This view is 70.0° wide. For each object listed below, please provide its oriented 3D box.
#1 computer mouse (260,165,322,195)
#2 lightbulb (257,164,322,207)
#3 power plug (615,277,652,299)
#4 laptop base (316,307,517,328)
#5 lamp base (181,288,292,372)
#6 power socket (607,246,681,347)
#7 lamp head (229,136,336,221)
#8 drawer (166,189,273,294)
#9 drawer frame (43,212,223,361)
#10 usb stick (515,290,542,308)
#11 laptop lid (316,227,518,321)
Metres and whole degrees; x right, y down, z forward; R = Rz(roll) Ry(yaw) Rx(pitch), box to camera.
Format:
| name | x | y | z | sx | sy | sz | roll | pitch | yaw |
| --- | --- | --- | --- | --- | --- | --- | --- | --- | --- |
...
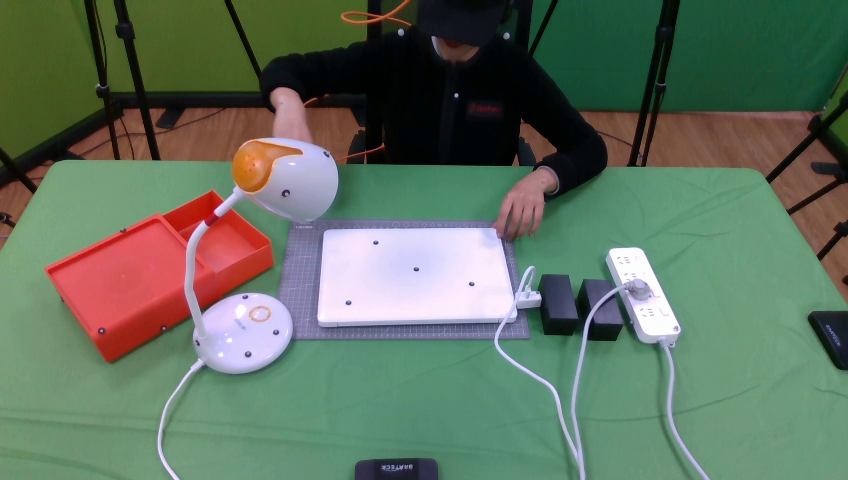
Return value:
| name | x | y | z | sx | sy | sz | roll | pitch | yaw |
| --- | --- | --- | --- | --- | --- | --- | --- | --- | --- |
| computer mouse | -0.259 | -0.121 | 1.180 | 0.117 | 0.041 | 0.062 | 6 | 28 | -7 |
| lightbulb | -0.181 | -0.078 | 0.810 | 0.059 | 0.059 | 0.108 | 36 | 11 | 28 |
| power plug | 0.375 | 0.088 | 1.097 | 0.072 | 0.053 | 0.035 | 6 | 46 | 2 |
| laptop base | -0.017 | 0.067 | 1.133 | 0.355 | 0.023 | 0.234 | -1 | 42 | -5 |
| lamp base | -0.309 | 0.108 | 0.959 | 0.160 | 0.181 | 0.179 | 29 | 55 | 22 |
| power socket | 0.403 | 0.096 | 1.123 | 0.072 | 0.033 | 0.225 | -3 | 47 | -5 |
| lamp head | -0.196 | -0.085 | 0.791 | 0.112 | 0.112 | 0.123 | 36 | 14 | 27 |
| drawer | -0.419 | 0.021 | 1.108 | 0.193 | 0.073 | 0.211 | 37 | 55 | 27 |
| drawer frame | -0.497 | 0.073 | 1.049 | 0.213 | 0.083 | 0.200 | -34 | 57 | -31 |
| usb stick | 0.181 | 0.107 | 1.089 | 0.059 | 0.027 | 0.021 | -6 | 47 | -4 |
| laptop lid | -0.016 | 0.057 | 1.126 | 0.357 | 0.013 | 0.240 | 0 | 43 | -4 |
